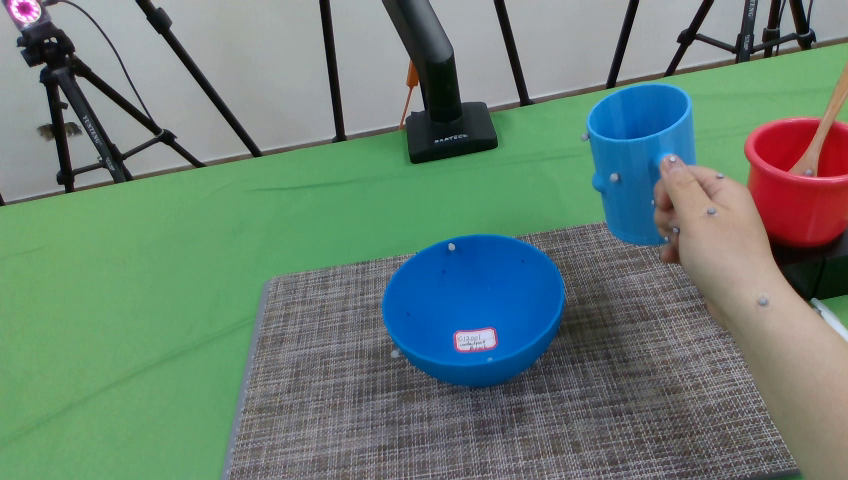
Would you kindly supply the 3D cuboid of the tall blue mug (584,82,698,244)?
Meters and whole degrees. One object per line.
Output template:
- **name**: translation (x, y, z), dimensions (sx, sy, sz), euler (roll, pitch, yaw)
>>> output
- **tall blue mug**: translation (0.187, -0.055, 0.482), dimensions (0.078, 0.109, 0.106), euler (-38, 40, -15)

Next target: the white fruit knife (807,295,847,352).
- **white fruit knife**: translation (0.341, 0.111, 0.445), dimensions (0.027, 0.016, 0.205), euler (11, 36, -13)

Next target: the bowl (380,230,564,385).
- **bowl**: translation (0.044, 0.070, 0.516), dimensions (0.151, 0.077, 0.150), euler (-7, 40, 7)

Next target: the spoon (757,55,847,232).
- **spoon**: translation (0.337, -0.096, 0.510), dimensions (0.041, 0.022, 0.194), euler (27, 98, 40)
